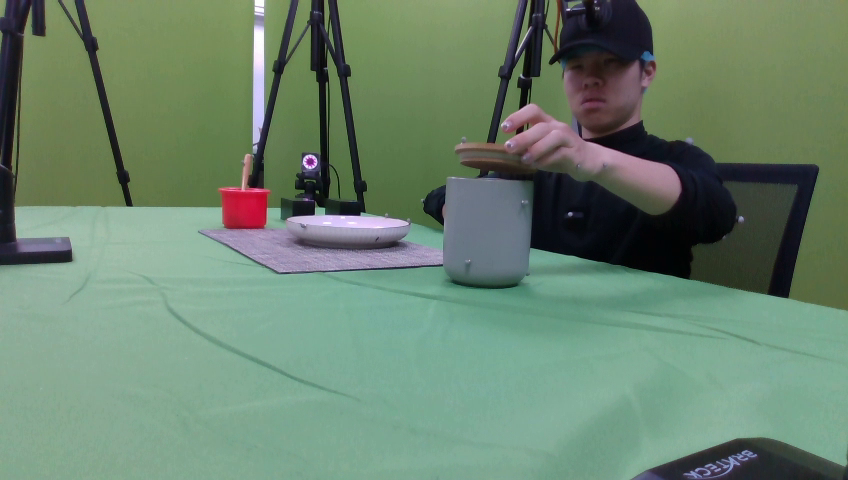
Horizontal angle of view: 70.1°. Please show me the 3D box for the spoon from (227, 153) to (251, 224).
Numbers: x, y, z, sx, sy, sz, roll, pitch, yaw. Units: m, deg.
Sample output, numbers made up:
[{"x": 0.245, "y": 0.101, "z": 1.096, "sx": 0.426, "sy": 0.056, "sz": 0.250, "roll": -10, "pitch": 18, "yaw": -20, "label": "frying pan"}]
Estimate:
[{"x": -0.363, "y": -0.107, "z": 1.211, "sx": 0.042, "sy": 0.021, "sz": 0.193, "roll": -1, "pitch": 47, "yaw": -7, "label": "spoon"}]

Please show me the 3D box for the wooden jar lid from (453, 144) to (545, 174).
[{"x": 0.087, "y": -0.094, "z": 0.711, "sx": 0.108, "sy": 0.020, "sz": 0.108, "roll": 6, "pitch": 1, "yaw": 0, "label": "wooden jar lid"}]

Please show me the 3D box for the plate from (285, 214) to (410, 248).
[{"x": -0.127, "y": -0.015, "z": 1.012, "sx": 0.208, "sy": 0.039, "sz": 0.207, "roll": 3, "pitch": 7, "yaw": 0, "label": "plate"}]

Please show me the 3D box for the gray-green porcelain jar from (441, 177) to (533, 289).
[{"x": 0.075, "y": -0.010, "z": 0.727, "sx": 0.106, "sy": 0.126, "sz": 0.106, "roll": 2, "pitch": 7, "yaw": 0, "label": "gray-green porcelain jar"}]
